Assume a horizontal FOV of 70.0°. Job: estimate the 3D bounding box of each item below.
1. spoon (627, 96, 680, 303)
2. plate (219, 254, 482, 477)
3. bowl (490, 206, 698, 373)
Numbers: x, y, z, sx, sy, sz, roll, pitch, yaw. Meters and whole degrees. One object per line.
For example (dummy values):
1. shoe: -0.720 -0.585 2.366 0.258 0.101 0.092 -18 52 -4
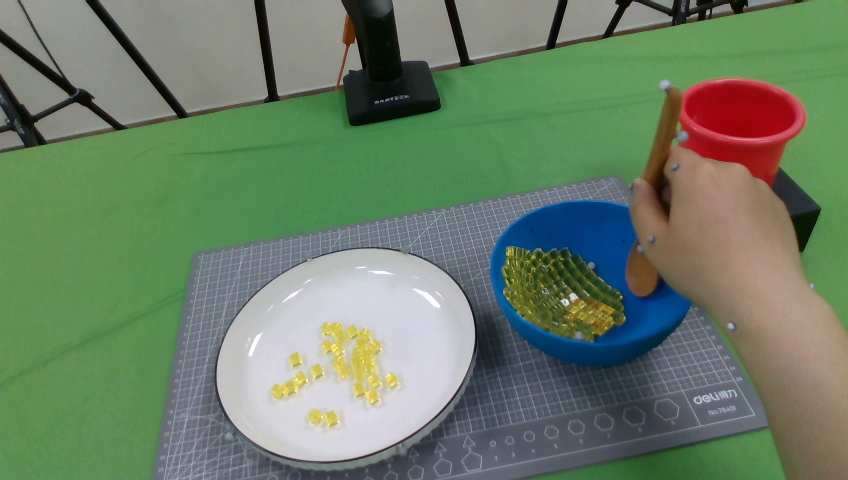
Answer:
1. spoon: 0.156 -0.018 0.415 0.021 0.196 0.041 -15 50 4
2. plate: -0.056 0.096 0.490 0.207 0.039 0.205 -5 43 5
3. bowl: 0.128 0.051 0.477 0.151 0.077 0.150 -5 43 5
